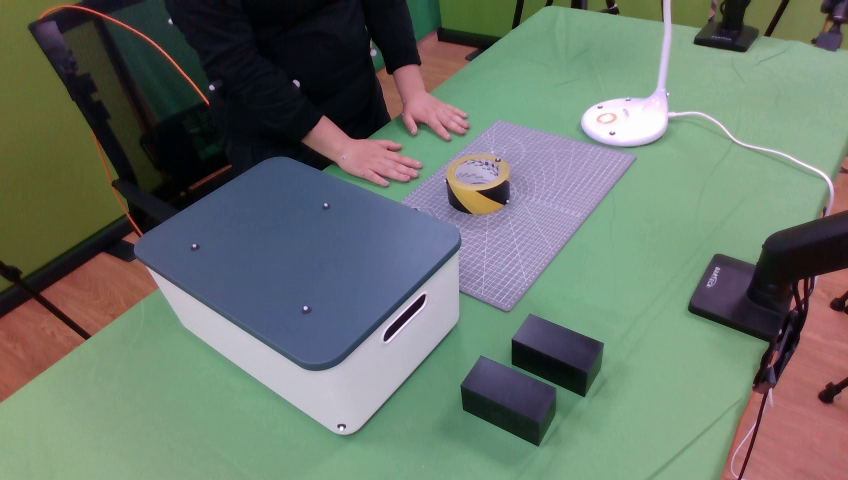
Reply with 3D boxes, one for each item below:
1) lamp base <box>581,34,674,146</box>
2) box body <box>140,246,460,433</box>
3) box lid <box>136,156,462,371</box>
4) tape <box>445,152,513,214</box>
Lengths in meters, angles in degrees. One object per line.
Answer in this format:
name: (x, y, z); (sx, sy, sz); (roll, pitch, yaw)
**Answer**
lamp base: (0.392, -0.291, 1.129); (0.180, 0.181, 0.159); (-11, 41, -8)
box body: (-0.156, 0.059, 0.815); (0.361, 0.161, 0.255); (24, 49, 31)
box lid: (-0.162, 0.004, 0.765); (0.368, 0.015, 0.264); (24, 49, 31)
tape: (0.095, -0.099, 1.043); (0.117, 0.053, 0.116); (-4, 41, 4)
